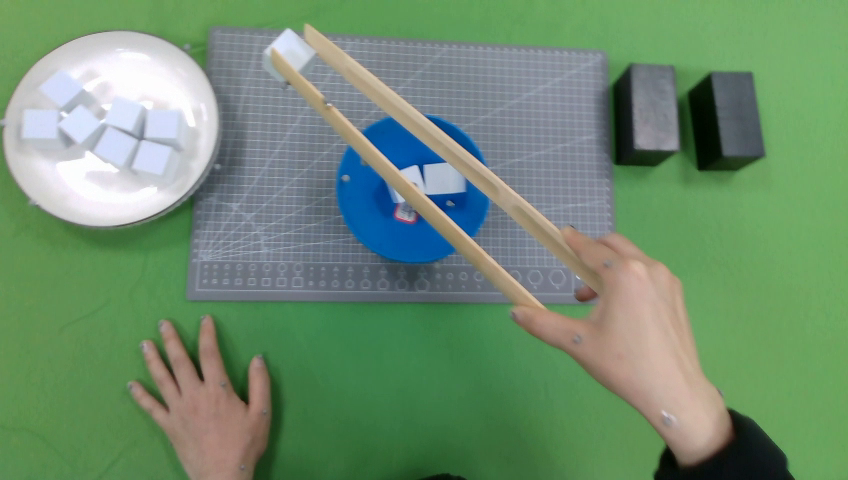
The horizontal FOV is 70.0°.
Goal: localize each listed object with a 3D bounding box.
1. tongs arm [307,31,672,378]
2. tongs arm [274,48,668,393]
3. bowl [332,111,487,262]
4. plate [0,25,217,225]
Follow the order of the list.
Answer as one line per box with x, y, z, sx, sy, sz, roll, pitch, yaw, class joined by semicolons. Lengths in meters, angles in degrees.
0.036;-0.041;0.469;0.385;0.028;0.028;43;57;14;tongs arm
0.020;-0.028;0.458;0.051;0.027;0.382;-35;72;-27;tongs arm
-0.016;-0.045;0.612;0.152;0.077;0.150;1;79;-7;bowl
-0.313;-0.114;0.614;0.208;0.039;0.206;1;79;-5;plate
